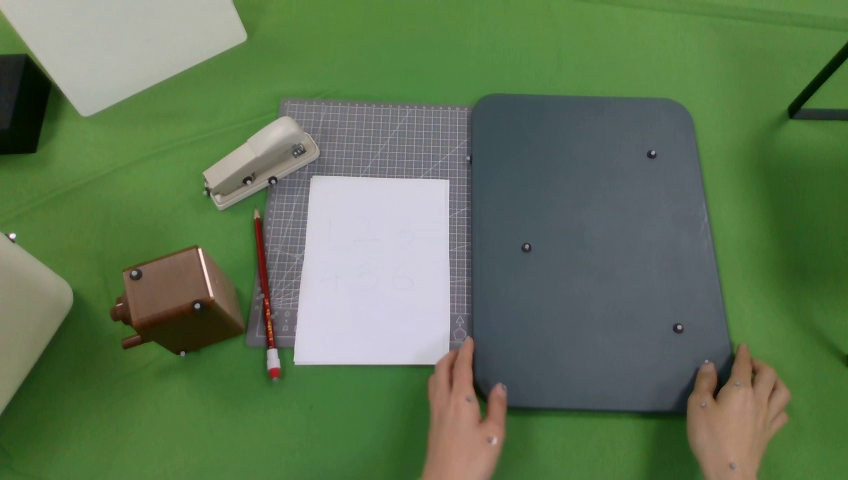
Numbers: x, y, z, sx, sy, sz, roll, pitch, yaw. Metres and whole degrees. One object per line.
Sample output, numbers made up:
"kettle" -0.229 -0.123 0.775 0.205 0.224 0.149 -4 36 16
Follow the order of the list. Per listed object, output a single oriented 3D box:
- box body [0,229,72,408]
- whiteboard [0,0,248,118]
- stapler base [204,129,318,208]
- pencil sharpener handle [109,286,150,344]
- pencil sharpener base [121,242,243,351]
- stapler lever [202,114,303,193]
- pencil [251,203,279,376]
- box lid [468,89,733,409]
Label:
"box body" -0.550 0.059 0.532 0.363 0.161 0.253 21 69 7
"whiteboard" -0.368 -0.332 0.654 0.217 0.308 0.142 -30 52 -12
"stapler base" -0.183 -0.086 0.674 0.130 0.024 0.041 -32 68 -10
"pencil sharpener handle" -0.272 0.072 0.550 0.031 0.068 0.035 -19 53 -8
"pencil sharpener base" -0.226 0.057 0.571 0.077 0.108 0.061 -19 69 -8
"stapler lever" -0.185 -0.095 0.651 0.118 0.040 0.026 -32 67 -10
"pencil" -0.167 0.046 0.628 0.012 0.012 0.192 -11 68 -6
"box lid" 0.180 -0.008 0.659 0.263 0.015 0.368 2 68 -2
